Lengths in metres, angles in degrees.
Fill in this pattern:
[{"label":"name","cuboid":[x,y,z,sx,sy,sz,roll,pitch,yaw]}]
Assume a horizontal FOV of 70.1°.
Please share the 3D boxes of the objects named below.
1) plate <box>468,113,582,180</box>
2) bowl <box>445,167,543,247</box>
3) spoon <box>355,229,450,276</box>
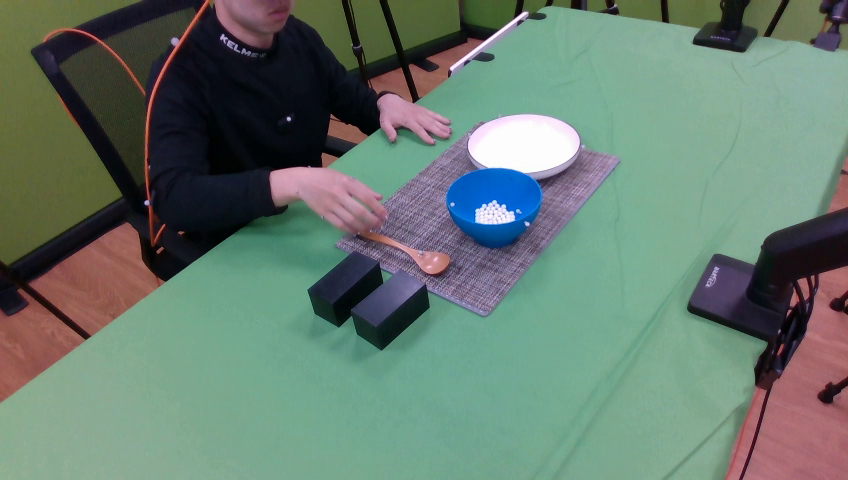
[{"label":"plate","cuboid":[0.186,-0.169,1.122,0.207,0.039,0.206,-4,40,4]},{"label":"bowl","cuboid":[0.111,-0.041,0.952,0.151,0.077,0.150,-4,41,4]},{"label":"spoon","cuboid":[-0.038,0.012,0.953,0.192,0.022,0.041,24,68,31]}]
